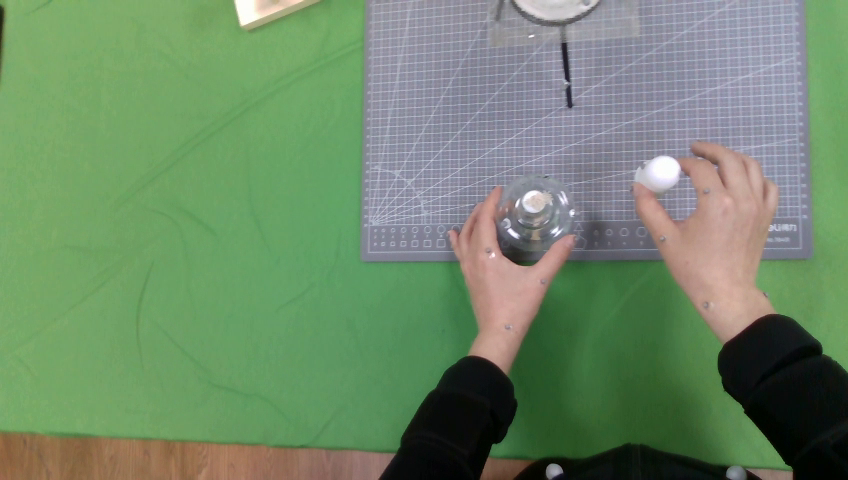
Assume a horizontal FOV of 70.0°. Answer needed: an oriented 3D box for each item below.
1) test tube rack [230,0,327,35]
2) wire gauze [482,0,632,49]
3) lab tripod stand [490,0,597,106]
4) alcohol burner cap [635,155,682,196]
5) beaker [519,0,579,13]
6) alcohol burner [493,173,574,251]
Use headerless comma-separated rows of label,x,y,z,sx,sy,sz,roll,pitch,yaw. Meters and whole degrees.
test tube rack,-0.122,-0.318,0.669,0.242,0.085,0.066,-18,81,11
wire gauze,0.110,-0.224,0.513,0.125,0.011,0.121,-1,88,10
lab tripod stand,0.124,-0.217,0.577,0.148,0.132,0.148,-1,86,11
alcohol burner cap,0.200,-0.057,0.512,0.034,0.048,0.034,0,87,8
beaker,0.094,-0.229,0.467,0.083,0.100,0.074,13,88,14
alcohol burner,0.104,-0.029,0.576,0.078,0.119,0.077,-1,84,11
